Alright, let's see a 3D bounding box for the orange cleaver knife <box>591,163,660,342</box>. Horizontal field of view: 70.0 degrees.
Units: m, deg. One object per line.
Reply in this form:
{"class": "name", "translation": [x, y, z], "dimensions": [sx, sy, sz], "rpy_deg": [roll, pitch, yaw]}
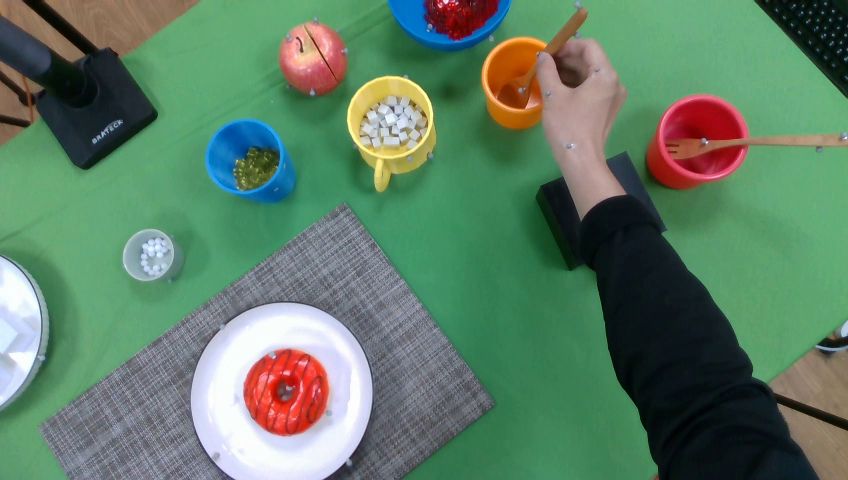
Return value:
{"class": "orange cleaver knife", "translation": [0.223, 0.015, 0.672], "dimensions": [0.012, 0.076, 0.213], "rpy_deg": [-22, 110, 2]}

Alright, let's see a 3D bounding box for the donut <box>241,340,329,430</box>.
{"class": "donut", "translation": [-0.155, 0.162, 0.679], "dimensions": [0.099, 0.048, 0.099], "rpy_deg": [0, 83, 4]}

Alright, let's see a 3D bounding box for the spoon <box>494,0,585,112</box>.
{"class": "spoon", "translation": [0.119, -0.191, 0.647], "dimensions": [0.021, 0.194, 0.041], "rpy_deg": [-28, 85, -18]}

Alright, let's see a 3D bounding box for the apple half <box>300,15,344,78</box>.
{"class": "apple half", "translation": [-0.115, -0.237, 0.731], "dimensions": [0.033, 0.081, 0.081], "rpy_deg": [-31, 81, -1]}

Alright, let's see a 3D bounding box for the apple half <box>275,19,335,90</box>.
{"class": "apple half", "translation": [-0.149, -0.216, 0.731], "dimensions": [0.053, 0.075, 0.080], "rpy_deg": [-32, 84, 1]}

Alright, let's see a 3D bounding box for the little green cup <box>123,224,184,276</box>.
{"class": "little green cup", "translation": [-0.321, 0.015, 0.725], "dimensions": [0.061, 0.039, 0.061], "rpy_deg": [-1, 81, 4]}

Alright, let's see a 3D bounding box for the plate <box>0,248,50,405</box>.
{"class": "plate", "translation": [-0.543, 0.107, 0.724], "dimensions": [0.207, 0.039, 0.207], "rpy_deg": [0, 82, 3]}

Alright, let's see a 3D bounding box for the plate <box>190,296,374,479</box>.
{"class": "plate", "translation": [-0.158, 0.167, 0.690], "dimensions": [0.209, 0.038, 0.208], "rpy_deg": [0, 82, 3]}

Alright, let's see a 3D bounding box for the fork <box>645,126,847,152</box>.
{"class": "fork", "translation": [0.340, -0.111, 0.652], "dimensions": [0.206, 0.019, 0.028], "rpy_deg": [5, 65, 46]}

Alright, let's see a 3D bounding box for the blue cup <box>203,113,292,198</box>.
{"class": "blue cup", "translation": [-0.195, -0.089, 0.701], "dimensions": [0.092, 0.100, 0.092], "rpy_deg": [0, 83, 2]}

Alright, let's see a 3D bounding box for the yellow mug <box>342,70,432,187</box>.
{"class": "yellow mug", "translation": [-0.044, -0.127, 0.716], "dimensions": [0.100, 0.064, 0.130], "rpy_deg": [11, 83, 4]}

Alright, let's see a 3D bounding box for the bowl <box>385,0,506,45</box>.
{"class": "bowl", "translation": [0.027, -0.296, 0.730], "dimensions": [0.151, 0.077, 0.151], "rpy_deg": [0, 83, 3]}
